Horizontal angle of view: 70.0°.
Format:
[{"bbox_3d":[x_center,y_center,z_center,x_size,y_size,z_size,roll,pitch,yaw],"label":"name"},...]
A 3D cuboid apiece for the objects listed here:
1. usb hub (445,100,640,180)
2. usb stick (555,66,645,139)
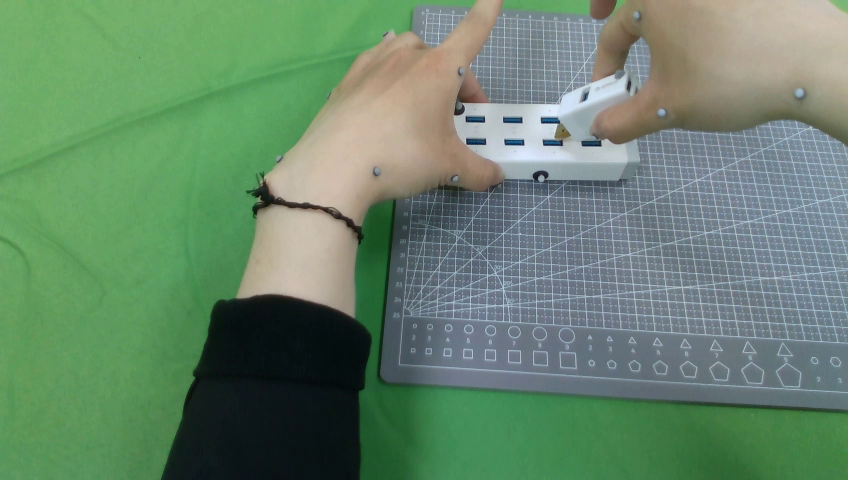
[{"bbox_3d":[0.077,-0.067,0.406,0.125,0.025,0.049,1,63,-2],"label":"usb hub"},{"bbox_3d":[0.100,-0.080,0.366,0.027,0.059,0.021,38,56,-25],"label":"usb stick"}]
